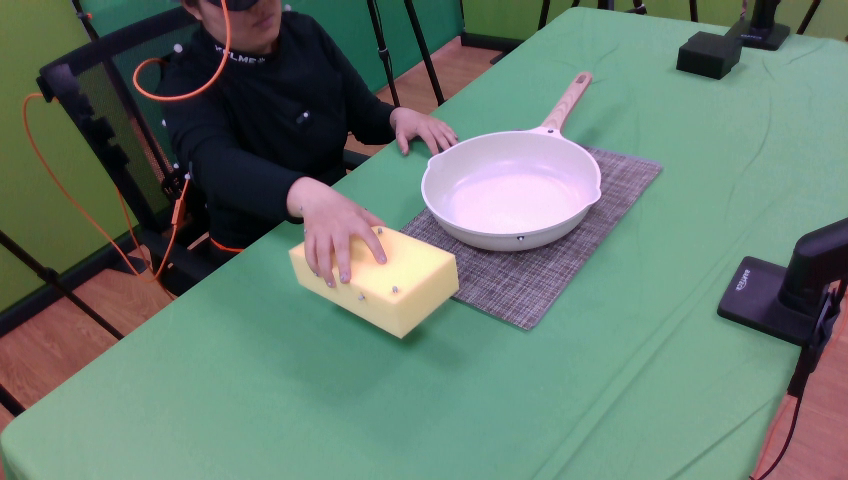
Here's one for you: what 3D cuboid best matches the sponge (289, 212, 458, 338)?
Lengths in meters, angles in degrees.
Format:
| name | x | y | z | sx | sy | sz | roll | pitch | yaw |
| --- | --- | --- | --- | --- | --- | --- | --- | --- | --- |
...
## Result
| name | x | y | z | sx | sy | sz | roll | pitch | yaw |
| --- | --- | --- | --- | --- | --- | --- | --- | --- | --- |
| sponge | -0.071 | 0.041 | 0.830 | 0.205 | 0.061 | 0.118 | 22 | 45 | 35 |

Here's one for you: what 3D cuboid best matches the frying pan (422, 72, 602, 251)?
| name | x | y | z | sx | sy | sz | roll | pitch | yaw |
| --- | --- | --- | --- | --- | --- | --- | --- | --- | --- |
| frying pan | 0.199 | -0.155 | 1.062 | 0.304 | 0.103 | 0.488 | 19 | 56 | 28 |
